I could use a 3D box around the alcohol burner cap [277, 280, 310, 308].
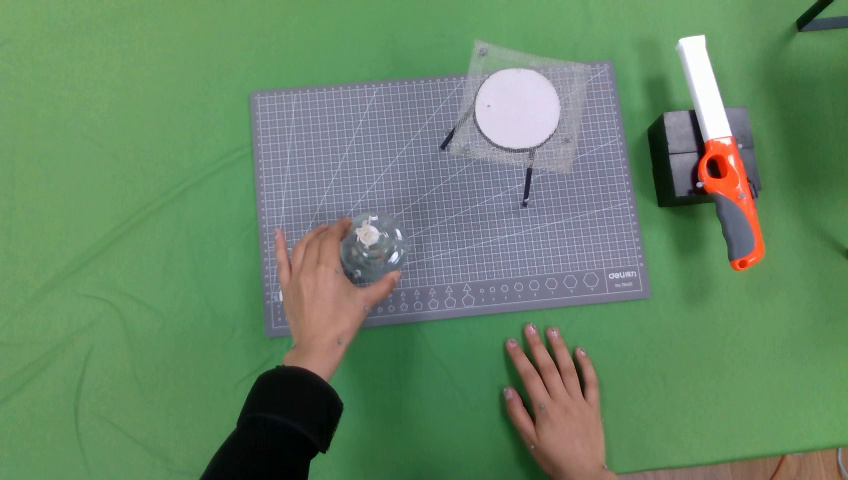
[{"bbox_3d":[-0.148,0.059,0.679,0.034,0.048,0.033,1,80,-3],"label":"alcohol burner cap"}]

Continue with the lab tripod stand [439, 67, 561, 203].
[{"bbox_3d":[0.093,-0.125,0.670,0.148,0.132,0.147,0,78,-1],"label":"lab tripod stand"}]

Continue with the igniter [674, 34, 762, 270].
[{"bbox_3d":[0.330,-0.103,0.682,0.057,0.025,0.275,-9,78,0],"label":"igniter"}]

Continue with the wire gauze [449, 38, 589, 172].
[{"bbox_3d":[0.097,-0.135,0.604,0.121,0.011,0.124,13,79,1],"label":"wire gauze"}]

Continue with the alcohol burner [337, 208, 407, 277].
[{"bbox_3d":[-0.057,0.000,0.656,0.078,0.119,0.077,0,82,-1],"label":"alcohol burner"}]
